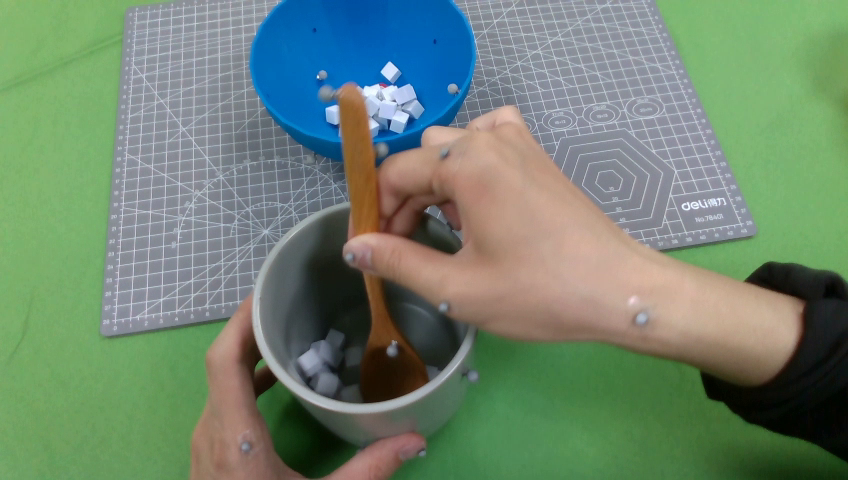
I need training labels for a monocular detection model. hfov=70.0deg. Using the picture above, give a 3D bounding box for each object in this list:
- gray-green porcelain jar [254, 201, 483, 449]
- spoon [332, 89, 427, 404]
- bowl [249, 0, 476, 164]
[{"bbox_3d":[-0.024,0.054,0.331,0.106,0.127,0.105,0,63,1],"label":"gray-green porcelain jar"},{"bbox_3d":[-0.023,0.021,0.294,0.041,0.195,0.021,5,39,13],"label":"spoon"},{"bbox_3d":[-0.040,-0.107,0.434,0.151,0.077,0.150,0,64,1],"label":"bowl"}]
